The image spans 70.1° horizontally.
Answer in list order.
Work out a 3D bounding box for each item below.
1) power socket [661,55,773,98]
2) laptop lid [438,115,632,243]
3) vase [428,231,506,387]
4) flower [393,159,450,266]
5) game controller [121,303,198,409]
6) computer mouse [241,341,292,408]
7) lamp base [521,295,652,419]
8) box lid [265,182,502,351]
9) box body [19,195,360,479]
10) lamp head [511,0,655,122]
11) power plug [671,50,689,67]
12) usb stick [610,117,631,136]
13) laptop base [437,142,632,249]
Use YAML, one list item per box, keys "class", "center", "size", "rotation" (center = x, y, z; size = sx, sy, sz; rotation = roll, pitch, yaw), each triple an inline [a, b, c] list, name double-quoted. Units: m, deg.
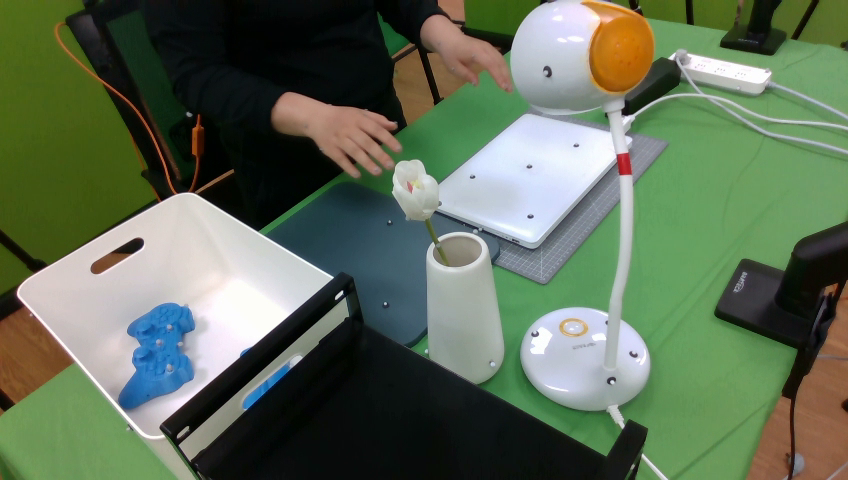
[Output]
- class: "power socket"
  center: [0.619, -0.353, 1.289]
  size: [0.225, 0.033, 0.072]
  rotation: [26, 51, 33]
- class: "laptop lid"
  center: [0.189, -0.126, 1.081]
  size: [0.239, 0.013, 0.358]
  rotation: [23, 49, 35]
- class: "vase"
  center: [0.050, 0.087, 0.728]
  size: [0.098, 0.201, 0.097]
  rotation: [-3, 40, 3]
- class: "flower"
  center: [0.028, 0.036, 0.664]
  size: [0.043, 0.364, 0.038]
  rotation: [34, 72, 29]
- class: "game controller"
  center: [-0.364, 0.149, 0.828]
  size: [0.097, 0.052, 0.154]
  rotation: [-13, 41, -9]
- class: "computer mouse"
  center: [-0.201, 0.177, 0.776]
  size: [0.063, 0.041, 0.116]
  rotation: [-11, 44, -8]
- class: "lamp base"
  center: [0.201, 0.095, 0.710]
  size: [0.161, 0.181, 0.178]
  rotation: [-16, 43, -10]
- class: "box lid"
  center: [-0.087, 0.023, 0.971]
  size: [0.368, 0.015, 0.264]
  rotation: [23, 49, 31]
- class: "box body"
  center: [-0.288, 0.118, 0.772]
  size: [0.361, 0.161, 0.255]
  rotation: [26, 50, 33]
- class: "lamp head"
  center: [0.155, -0.168, 0.563]
  size: [0.113, 0.113, 0.122]
  rotation: [-18, 23, -12]
- class: "power plug"
  center: [0.540, -0.379, 1.302]
  size: [0.073, 0.053, 0.035]
  rotation: [-31, 46, -23]
- class: "usb stick"
  center: [0.369, -0.208, 1.147]
  size: [0.021, 0.027, 0.059]
  rotation: [25, 55, 33]
- class: "laptop base"
  center: [0.192, -0.117, 1.087]
  size: [0.233, 0.023, 0.355]
  rotation: [21, 48, 34]
